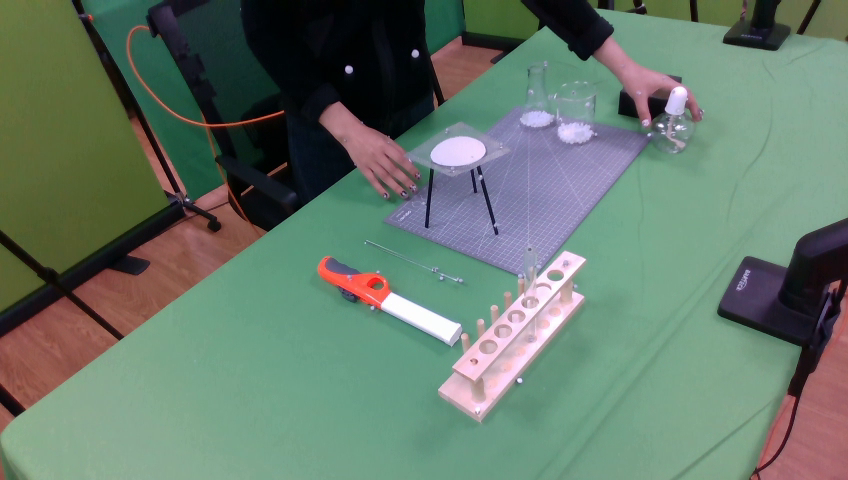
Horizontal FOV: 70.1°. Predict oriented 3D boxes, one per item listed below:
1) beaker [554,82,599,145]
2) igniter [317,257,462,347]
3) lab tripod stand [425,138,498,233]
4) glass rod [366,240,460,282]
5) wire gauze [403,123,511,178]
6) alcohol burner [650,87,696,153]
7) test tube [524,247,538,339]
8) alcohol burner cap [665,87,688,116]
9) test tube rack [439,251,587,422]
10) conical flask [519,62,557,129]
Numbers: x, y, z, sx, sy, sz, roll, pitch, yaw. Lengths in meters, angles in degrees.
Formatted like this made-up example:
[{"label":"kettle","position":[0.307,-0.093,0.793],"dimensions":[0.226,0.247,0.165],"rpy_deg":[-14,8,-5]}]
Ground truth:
[{"label":"beaker","position":[0.286,-0.236,1.144],"dimensions":[0.084,0.101,0.073],"rpy_deg":[-17,40,-7]},{"label":"igniter","position":[-0.061,0.086,0.891],"dimensions":[0.274,0.025,0.057],"rpy_deg":[23,59,33]},{"label":"lab tripod stand","position":[0.063,-0.091,0.988],"dimensions":[0.148,0.132,0.147],"rpy_deg":[-6,38,6]},{"label":"glass rod","position":[-0.022,0.032,0.962],"dimensions":[0.198,0.008,0.008],"rpy_deg":[21,49,35]},{"label":"wire gauze","position":[0.051,-0.140,0.943],"dimensions":[0.125,0.011,0.120],"rpy_deg":[-31,43,-24]},{"label":"alcohol burner","position":[0.448,-0.218,1.084],"dimensions":[0.078,0.119,0.077],"rpy_deg":[-6,39,5]},{"label":"test tube","position":[0.133,0.070,0.749],"dimensions":[0.017,0.151,0.017],"rpy_deg":[-5,38,4]},{"label":"alcohol burner cap","position":[0.445,-0.244,1.060],"dimensions":[0.034,0.048,0.033],"rpy_deg":[-2,45,3]},{"label":"test tube rack","position":[0.118,0.111,0.780],"dimensions":[0.066,0.085,0.243],"rpy_deg":[26,51,35]},{"label":"conical flask","position":[0.225,-0.287,1.198],"dimensions":[0.075,0.122,0.075],"rpy_deg":[-6,40,5]}]
